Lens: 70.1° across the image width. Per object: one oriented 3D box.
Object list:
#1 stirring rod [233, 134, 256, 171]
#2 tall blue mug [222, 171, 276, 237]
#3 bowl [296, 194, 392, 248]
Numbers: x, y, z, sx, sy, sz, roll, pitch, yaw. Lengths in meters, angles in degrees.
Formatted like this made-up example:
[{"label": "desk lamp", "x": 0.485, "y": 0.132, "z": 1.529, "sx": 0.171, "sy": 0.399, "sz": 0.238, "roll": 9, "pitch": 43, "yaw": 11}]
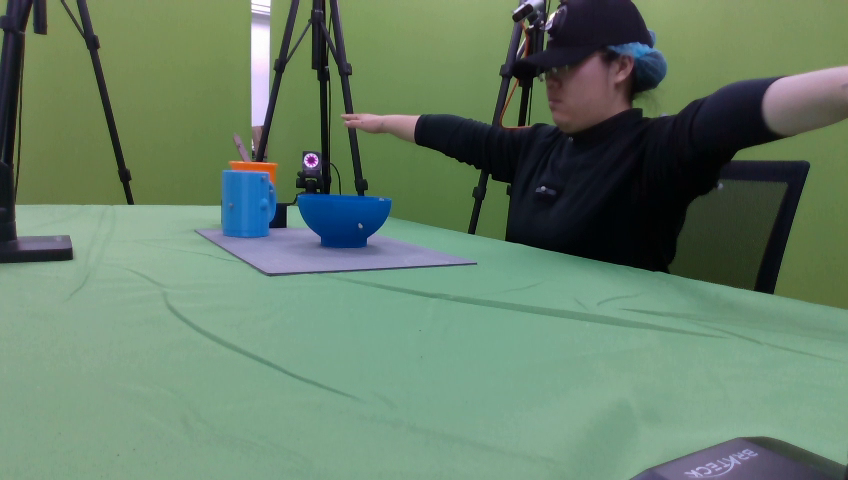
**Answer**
[{"label": "stirring rod", "x": -0.346, "y": -0.148, "z": 1.198, "sx": 0.014, "sy": 0.006, "sz": 0.175, "roll": -6, "pitch": 53, "yaw": -39}, {"label": "tall blue mug", "x": -0.303, "y": -0.065, "z": 1.043, "sx": 0.078, "sy": 0.108, "sz": 0.107, "roll": 1, "pitch": 7, "yaw": -4}, {"label": "bowl", "x": -0.128, "y": -0.030, "z": 0.964, "sx": 0.151, "sy": 0.077, "sz": 0.151, "roll": 2, "pitch": 7, "yaw": 0}]
